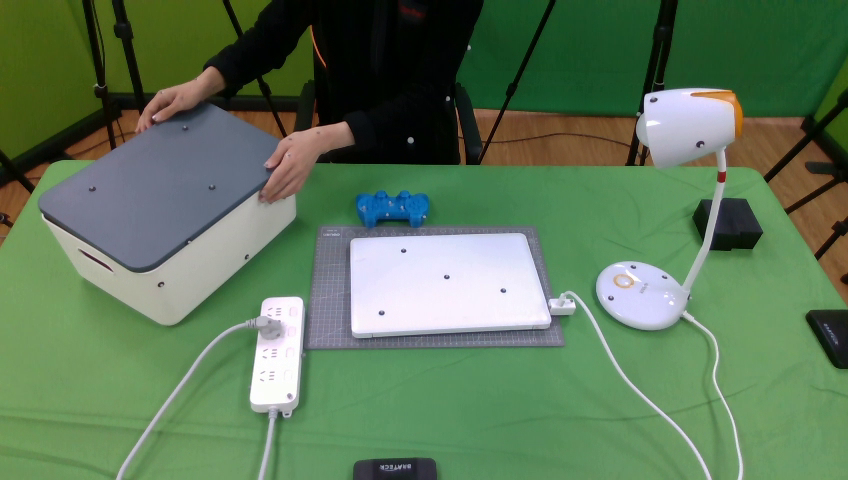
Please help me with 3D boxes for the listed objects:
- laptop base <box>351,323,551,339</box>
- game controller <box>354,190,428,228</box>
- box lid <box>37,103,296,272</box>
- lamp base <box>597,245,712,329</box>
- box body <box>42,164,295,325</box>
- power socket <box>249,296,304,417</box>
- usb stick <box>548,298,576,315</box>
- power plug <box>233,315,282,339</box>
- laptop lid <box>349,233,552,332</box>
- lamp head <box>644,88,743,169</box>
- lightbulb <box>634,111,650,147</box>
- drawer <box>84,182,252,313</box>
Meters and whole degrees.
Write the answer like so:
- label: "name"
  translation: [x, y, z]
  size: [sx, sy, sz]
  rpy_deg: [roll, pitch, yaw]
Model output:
- label: "laptop base"
  translation: [0.040, 0.080, 1.125]
  size: [0.355, 0.023, 0.234]
  rpy_deg: [-2, 43, -6]
- label: "game controller"
  translation: [-0.066, -0.072, 1.244]
  size: [0.155, 0.052, 0.096]
  rpy_deg: [0, 48, -4]
- label: "box lid"
  translation: [-0.432, -0.108, 1.047]
  size: [0.262, 0.015, 0.370]
  rpy_deg: [27, 50, 18]
- label: "lamp base"
  translation: [0.418, 0.051, 1.071]
  size: [0.179, 0.181, 0.160]
  rpy_deg: [22, 49, 13]
- label: "box body"
  translation: [-0.437, -0.046, 1.110]
  size: [0.253, 0.161, 0.363]
  rpy_deg: [24, 49, 19]
- label: "power socket"
  translation: [-0.239, 0.182, 0.996]
  size: [0.072, 0.033, 0.225]
  rpy_deg: [-2, 47, -5]
- label: "usb stick"
  translation: [0.240, 0.120, 1.085]
  size: [0.059, 0.027, 0.021]
  rpy_deg: [-2, 51, -2]
- label: "power plug"
  translation: [-0.271, 0.144, 0.999]
  size: [0.072, 0.053, 0.035]
  rpy_deg: [6, 47, 3]
- label: "laptop lid"
  translation: [0.040, 0.071, 1.118]
  size: [0.357, 0.013, 0.240]
  rpy_deg: [-1, 44, -5]
- label: "lamp head"
  translation: [0.380, -0.161, 0.851]
  size: [0.122, 0.113, 0.112]
  rpy_deg: [-4, 42, 25]
- label: "lightbulb"
  translation: [0.348, -0.163, 0.852]
  size: [0.059, 0.060, 0.107]
  rpy_deg: [-36, 19, -32]
- label: "drawer"
  translation: [-0.457, 0.008, 1.099]
  size: [0.194, 0.073, 0.211]
  rpy_deg: [30, 49, 20]
